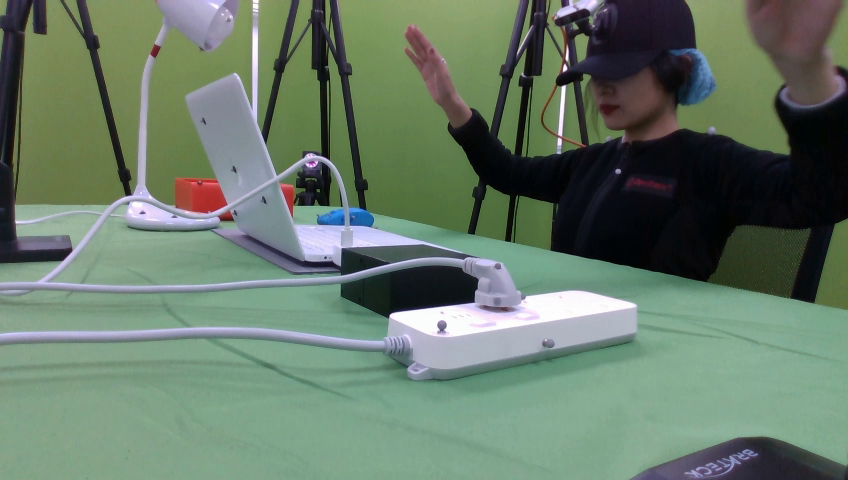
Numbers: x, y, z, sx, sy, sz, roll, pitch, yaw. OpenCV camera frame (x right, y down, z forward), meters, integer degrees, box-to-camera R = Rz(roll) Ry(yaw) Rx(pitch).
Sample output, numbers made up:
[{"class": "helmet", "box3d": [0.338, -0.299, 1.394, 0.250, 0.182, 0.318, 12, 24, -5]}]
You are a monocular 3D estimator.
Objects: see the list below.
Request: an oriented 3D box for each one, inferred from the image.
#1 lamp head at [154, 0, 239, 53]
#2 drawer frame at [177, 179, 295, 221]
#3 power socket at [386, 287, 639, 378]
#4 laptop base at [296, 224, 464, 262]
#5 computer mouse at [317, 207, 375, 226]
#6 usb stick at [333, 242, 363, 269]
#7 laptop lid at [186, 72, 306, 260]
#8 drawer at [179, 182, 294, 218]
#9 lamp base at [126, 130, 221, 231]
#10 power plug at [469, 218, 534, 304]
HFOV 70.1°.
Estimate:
[{"class": "lamp head", "box3d": [-0.406, -0.402, 1.059, 0.123, 0.112, 0.112, 25, 5, -6]}, {"class": "drawer frame", "box3d": [-0.422, -0.092, 1.352, 0.215, 0.082, 0.200, -3, 10, -32]}, {"class": "power socket", "box3d": [0.074, 0.064, 0.461, 0.228, 0.032, 0.072, -4, 8, -34]}, {"class": "laptop base", "box3d": [-0.127, 0.002, 0.946, 0.237, 0.023, 0.352, 2, 6, -30]}, {"class": "computer mouse", "box3d": [-0.163, -0.048, 1.264, 0.118, 0.041, 0.062, -6, 12, -29]}, {"class": "usb stick", "box3d": [-0.096, 0.017, 0.743, 0.021, 0.027, 0.059, -4, 10, -31]}, {"class": "laptop lid", "box3d": [-0.263, -0.102, 0.852, 0.013, 0.242, 0.355, -25, 20, -25]}, {"class": "drawer", "box3d": [-0.420, -0.091, 1.354, 0.213, 0.073, 0.193, -3, 10, -31]}, {"class": "lamp base", "box3d": [-0.469, -0.112, 1.108, 0.179, 0.180, 0.160, 0, 7, 3]}, {"class": "power plug", "box3d": [0.054, 0.013, 0.454, 0.035, 0.072, 0.052, -23, -4, -41]}]
